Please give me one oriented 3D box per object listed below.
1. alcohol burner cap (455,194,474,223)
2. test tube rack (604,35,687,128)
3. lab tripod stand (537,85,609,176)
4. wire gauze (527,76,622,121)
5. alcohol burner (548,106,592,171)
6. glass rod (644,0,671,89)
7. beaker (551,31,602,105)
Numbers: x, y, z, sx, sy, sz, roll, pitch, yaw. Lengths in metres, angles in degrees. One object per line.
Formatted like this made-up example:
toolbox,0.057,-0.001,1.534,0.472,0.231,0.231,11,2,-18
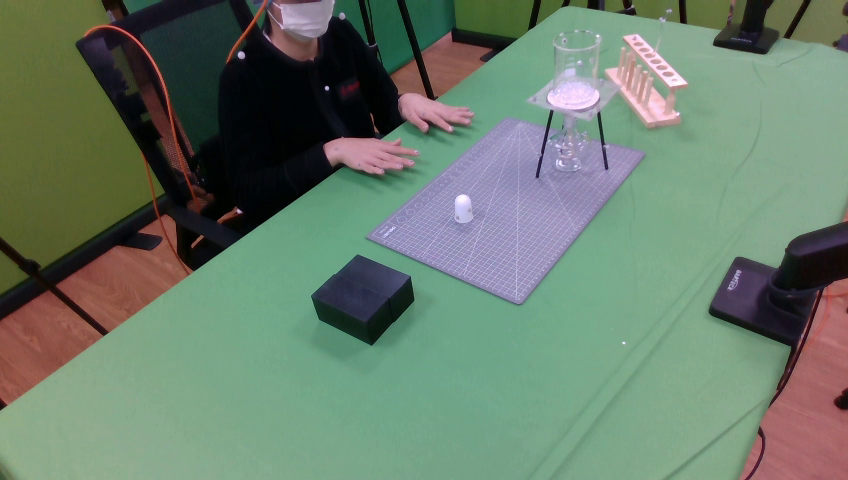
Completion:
alcohol burner cap,0.066,-0.054,1.006,0.034,0.048,0.033,-5,40,4
test tube rack,0.447,-0.330,1.241,0.067,0.085,0.241,-9,41,-2
lab tripod stand,0.259,-0.192,1.068,0.148,0.132,0.147,-4,43,4
wire gauze,0.255,-0.247,1.030,0.124,0.011,0.122,23,49,34
alcohol burner,0.258,-0.183,1.072,0.078,0.119,0.077,-6,41,6
glass rod,0.463,-0.387,1.204,0.008,0.200,0.008,0,47,1
beaker,0.252,-0.282,0.998,0.084,0.101,0.073,-16,42,-7
